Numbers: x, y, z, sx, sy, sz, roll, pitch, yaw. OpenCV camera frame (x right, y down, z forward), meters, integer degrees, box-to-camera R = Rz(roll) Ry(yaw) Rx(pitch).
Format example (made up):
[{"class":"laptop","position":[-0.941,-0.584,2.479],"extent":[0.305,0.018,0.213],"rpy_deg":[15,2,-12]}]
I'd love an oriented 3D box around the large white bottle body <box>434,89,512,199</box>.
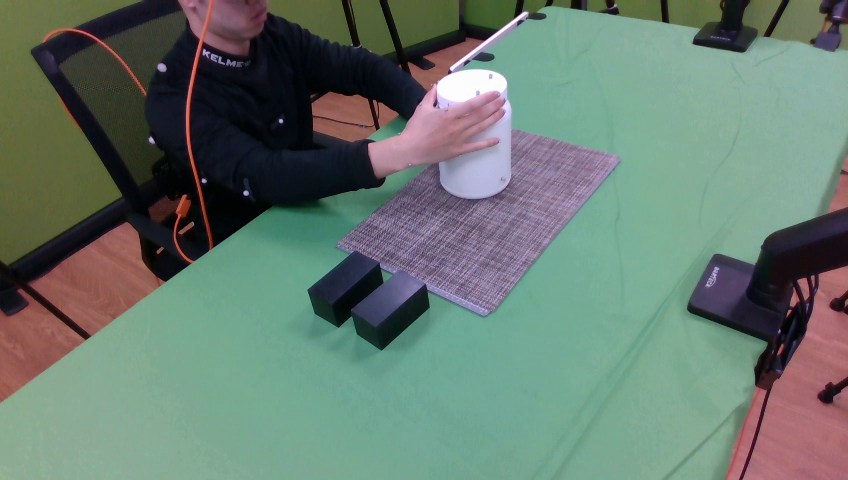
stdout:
[{"class":"large white bottle body","position":[0.085,-0.177,1.032],"extent":[0.130,0.185,0.130],"rpy_deg":[-4,40,4]}]

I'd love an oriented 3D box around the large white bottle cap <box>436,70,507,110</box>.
[{"class":"large white bottle cap","position":[0.076,-0.242,0.974],"extent":[0.115,0.018,0.114],"rpy_deg":[-4,39,4]}]
